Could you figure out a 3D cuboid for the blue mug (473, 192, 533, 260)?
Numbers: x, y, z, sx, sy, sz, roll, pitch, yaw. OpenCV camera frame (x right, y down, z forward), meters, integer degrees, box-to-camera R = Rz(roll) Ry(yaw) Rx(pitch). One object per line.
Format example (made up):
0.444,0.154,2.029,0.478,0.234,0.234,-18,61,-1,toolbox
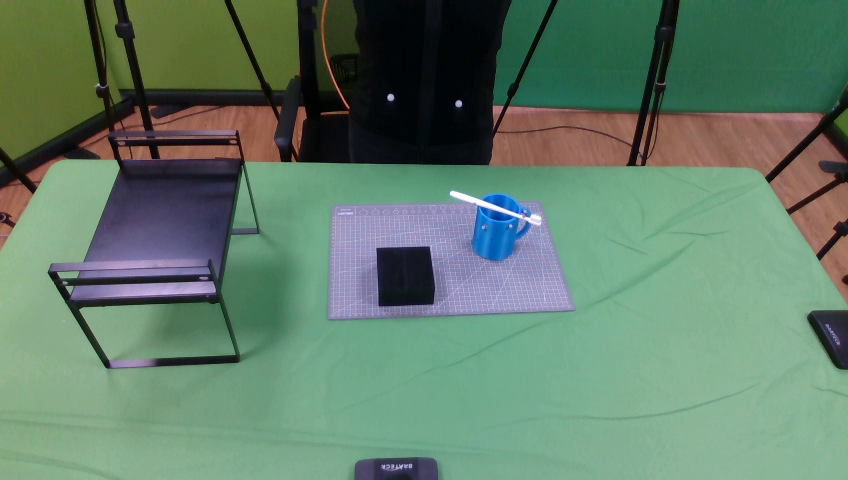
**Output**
0.156,-0.029,1.173,0.117,0.106,0.082,-8,47,-12,blue mug

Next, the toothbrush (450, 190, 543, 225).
0.133,-0.063,1.123,0.181,0.017,0.014,19,53,14,toothbrush
